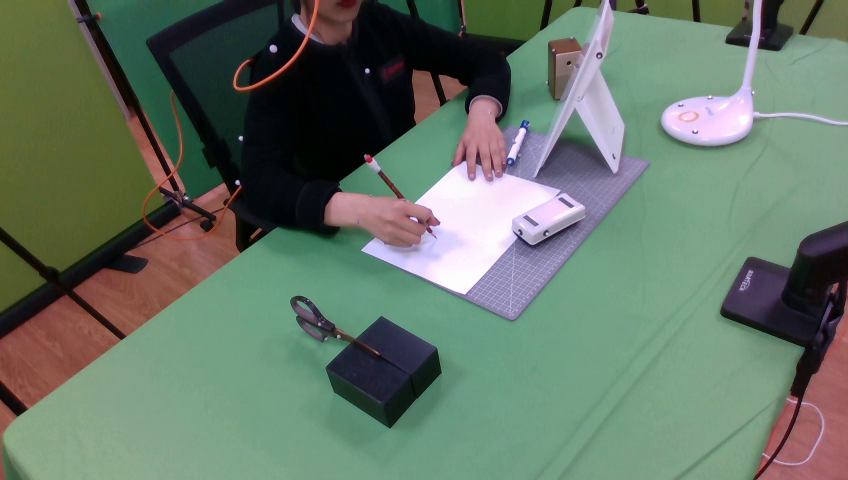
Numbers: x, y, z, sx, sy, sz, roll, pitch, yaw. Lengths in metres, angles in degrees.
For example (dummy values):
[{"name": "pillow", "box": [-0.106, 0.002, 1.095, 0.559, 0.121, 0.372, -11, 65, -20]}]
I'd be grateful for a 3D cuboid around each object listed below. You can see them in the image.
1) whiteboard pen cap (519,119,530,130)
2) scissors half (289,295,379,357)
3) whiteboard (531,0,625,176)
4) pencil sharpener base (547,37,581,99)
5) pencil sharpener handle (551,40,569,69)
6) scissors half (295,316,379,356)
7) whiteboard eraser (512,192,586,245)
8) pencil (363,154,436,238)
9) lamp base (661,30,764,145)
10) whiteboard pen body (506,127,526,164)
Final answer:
[{"name": "whiteboard pen cap", "box": [0.199, -0.226, 1.204, 0.018, 0.018, 0.033, 7, 41, 18]}, {"name": "scissors half", "box": [-0.122, 0.114, 0.803, 0.174, 0.040, 0.013, 26, 50, 32]}, {"name": "whiteboard", "box": [0.320, -0.258, 1.050, 0.144, 0.306, 0.217, 22, 45, 5]}, {"name": "pencil sharpener base", "box": [0.299, -0.368, 1.290, 0.061, 0.107, 0.076, -8, 40, 3]}, {"name": "pencil sharpener handle", "box": [0.291, -0.409, 1.321, 0.036, 0.068, 0.030, 3, 40, -7]}, {"name": "scissors half", "box": [-0.119, 0.132, 0.813, 0.174, 0.040, 0.013, 9, 34, 45]}, {"name": "whiteboard eraser", "box": [0.199, -0.032, 0.962, 0.113, 0.042, 0.055, -27, 42, -20]}, {"name": "pencil", "box": [-0.033, -0.062, 0.934, 0.012, 0.195, 0.012, -24, 39, 22]}, {"name": "lamp base", "box": [0.535, -0.287, 1.096, 0.179, 0.181, 0.159, -10, 40, -4]}, {"name": "whiteboard pen body", "box": [0.181, -0.189, 1.162, 0.017, 0.017, 0.140, 8, 42, 19]}]
